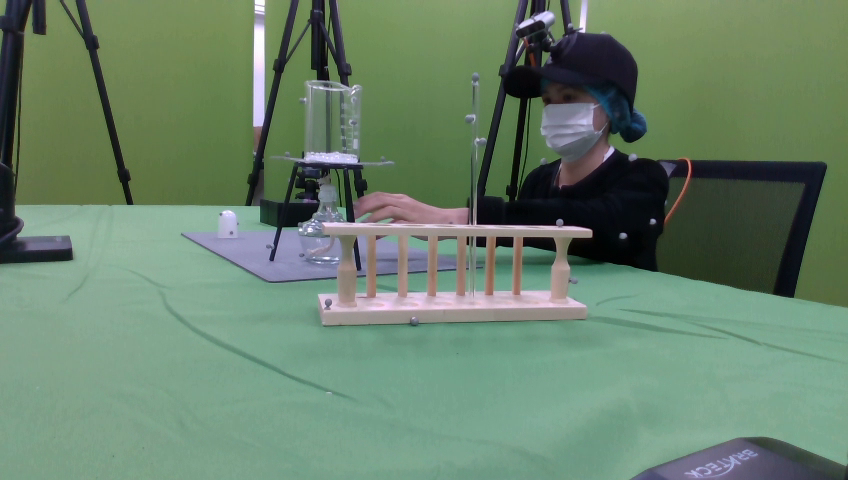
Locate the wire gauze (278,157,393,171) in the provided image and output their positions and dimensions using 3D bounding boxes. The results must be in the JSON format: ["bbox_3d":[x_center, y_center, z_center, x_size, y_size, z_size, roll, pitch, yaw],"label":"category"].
[{"bbox_3d":[-0.122,-0.100,0.786,0.122,0.011,0.124,-5,14,-38],"label":"wire gauze"}]

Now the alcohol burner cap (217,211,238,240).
[{"bbox_3d":[-0.323,-0.024,0.994,0.034,0.048,0.034,3,8,0],"label":"alcohol burner cap"}]

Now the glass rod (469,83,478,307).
[{"bbox_3d":[0.043,-0.033,0.523,0.008,0.199,0.008,-1,14,1],"label":"glass rod"}]

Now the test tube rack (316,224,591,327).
[{"bbox_3d":[0.026,0.028,0.555,0.243,0.085,0.066,1,7,-14],"label":"test tube rack"}]

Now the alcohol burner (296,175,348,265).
[{"bbox_3d":[-0.129,-0.026,0.798,0.078,0.119,0.078,2,9,0],"label":"alcohol burner"}]

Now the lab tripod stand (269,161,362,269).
[{"bbox_3d":[-0.125,-0.036,0.794,0.148,0.131,0.148,5,7,0],"label":"lab tripod stand"}]

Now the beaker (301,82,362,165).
[{"bbox_3d":[-0.117,-0.147,0.776,0.074,0.100,0.083,-3,10,-38],"label":"beaker"}]
